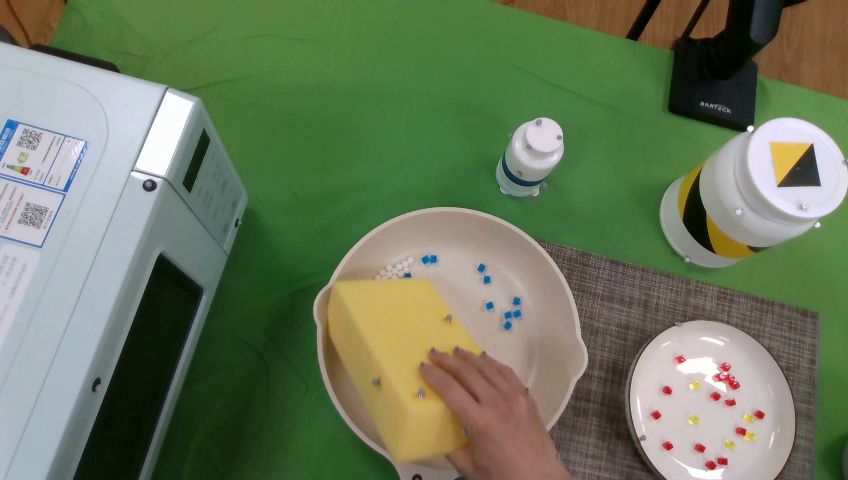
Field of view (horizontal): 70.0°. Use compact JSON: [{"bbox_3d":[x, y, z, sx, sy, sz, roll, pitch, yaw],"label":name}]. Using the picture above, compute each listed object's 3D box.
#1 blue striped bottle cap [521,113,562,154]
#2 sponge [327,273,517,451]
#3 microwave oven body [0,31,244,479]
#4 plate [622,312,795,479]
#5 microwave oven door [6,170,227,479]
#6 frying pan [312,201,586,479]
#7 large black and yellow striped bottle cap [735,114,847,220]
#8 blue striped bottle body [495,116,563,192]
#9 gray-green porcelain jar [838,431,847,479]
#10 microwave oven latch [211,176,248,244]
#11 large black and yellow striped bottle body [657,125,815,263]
[{"bbox_3d":[0.134,-0.121,0.688,0.044,0.021,0.044,2,72,-5],"label":"blue striped bottle cap"},{"bbox_3d":[-0.013,0.113,0.622,0.119,0.061,0.204,0,29,-29],"label":"sponge"},{"bbox_3d":[-0.404,0.064,0.552,0.326,0.261,0.439,15,74,-3],"label":"microwave oven body"},{"bbox_3d":[0.332,0.192,0.721,0.209,0.038,0.208,2,75,-6],"label":"plate"},{"bbox_3d":[-0.273,0.139,0.542,0.039,0.244,0.354,15,73,-2],"label":"microwave oven door"},{"bbox_3d":[0.006,0.194,0.648,0.307,0.103,0.484,13,66,0],"label":"frying pan"},{"bbox_3d":[0.387,-0.078,0.639,0.115,0.019,0.114,2,73,-6],"label":"large black and yellow striped bottle cap"},{"bbox_3d":[0.129,-0.108,0.738,0.063,0.121,0.062,2,75,-6],"label":"blue striped bottle body"},{"bbox_3d":[0.555,0.258,0.687,0.106,0.127,0.105,2,74,-6],"label":"gray-green porcelain jar"},{"bbox_3d":[-0.229,-0.037,0.700,0.030,0.029,0.079,18,74,-2],"label":"microwave oven latch"},{"bbox_3d":[0.378,-0.055,0.721,0.131,0.184,0.130,2,74,-6],"label":"large black and yellow striped bottle body"}]
